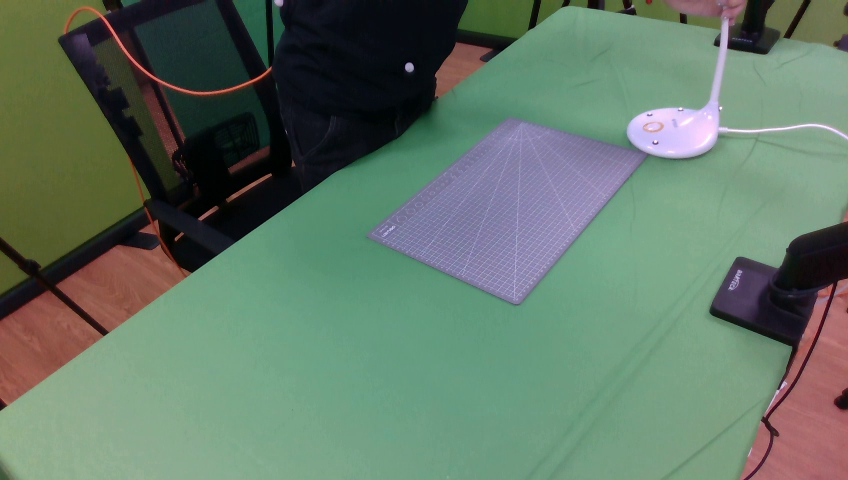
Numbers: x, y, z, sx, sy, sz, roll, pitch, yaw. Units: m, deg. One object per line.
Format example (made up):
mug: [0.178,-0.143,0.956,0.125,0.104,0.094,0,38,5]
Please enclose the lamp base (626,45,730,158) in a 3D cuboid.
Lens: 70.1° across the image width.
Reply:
lamp base: [0.468,-0.262,1.086,0.179,0.181,0.159,-4,41,-1]
